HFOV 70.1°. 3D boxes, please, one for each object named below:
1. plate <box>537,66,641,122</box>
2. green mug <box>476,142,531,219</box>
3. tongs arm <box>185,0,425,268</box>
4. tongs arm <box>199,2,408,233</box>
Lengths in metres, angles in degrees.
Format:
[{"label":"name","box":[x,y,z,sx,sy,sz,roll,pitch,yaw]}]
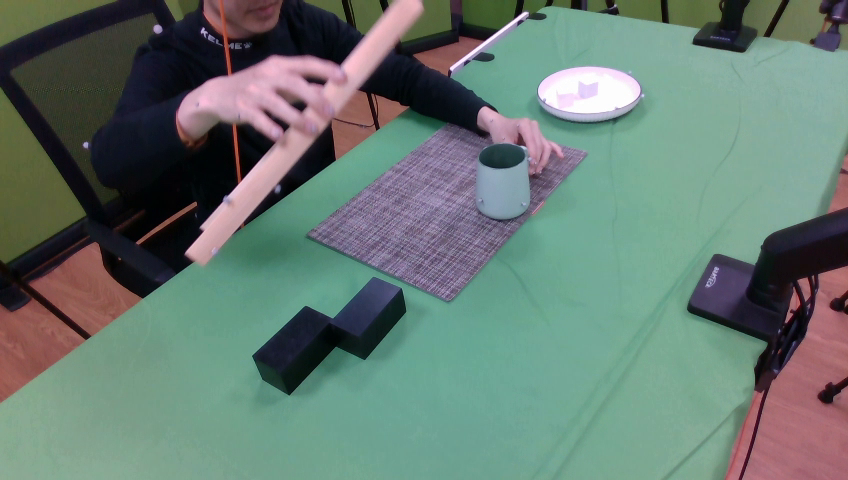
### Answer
[{"label":"plate","box":[0.338,-0.299,1.255,0.209,0.038,0.208,-4,41,4]},{"label":"green mug","box":[0.139,-0.106,1.003,0.092,0.105,0.125,21,49,30]},{"label":"tongs arm","box":[-0.130,-0.124,0.686,0.384,0.027,0.050,-48,18,-1]},{"label":"tongs arm","box":[-0.146,-0.141,0.752,0.387,0.028,0.028,-45,15,8]}]
